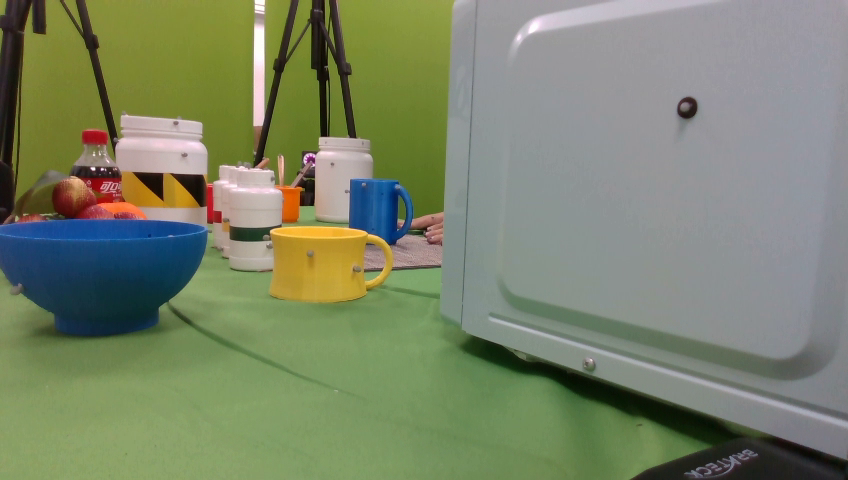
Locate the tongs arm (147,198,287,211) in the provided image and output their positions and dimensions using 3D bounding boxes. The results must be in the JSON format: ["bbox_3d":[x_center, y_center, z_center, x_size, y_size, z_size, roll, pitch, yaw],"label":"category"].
[{"bbox_3d":[-0.504,-0.091,1.513,0.028,0.028,0.389,-1,4,37],"label":"tongs arm"}]

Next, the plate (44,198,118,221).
[{"bbox_3d":[-0.617,-0.056,1.179,0.209,0.038,0.209,3,7,0],"label":"plate"}]

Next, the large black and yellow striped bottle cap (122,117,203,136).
[{"bbox_3d":[-0.399,-0.174,0.927,0.115,0.019,0.115,5,9,-1],"label":"large black and yellow striped bottle cap"}]

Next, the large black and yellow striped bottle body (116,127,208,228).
[{"bbox_3d":[-0.404,-0.089,0.937,0.131,0.184,0.130,3,7,0],"label":"large black and yellow striped bottle body"}]

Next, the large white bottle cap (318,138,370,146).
[{"bbox_3d":[-0.179,-0.218,1.351,0.115,0.018,0.115,2,8,0],"label":"large white bottle cap"}]

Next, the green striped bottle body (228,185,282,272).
[{"bbox_3d":[-0.208,-0.023,0.745,0.063,0.119,0.063,2,7,0],"label":"green striped bottle body"}]

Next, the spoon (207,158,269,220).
[{"bbox_3d":[-0.380,-0.108,1.251,0.041,0.022,0.194,4,51,39],"label":"spoon"}]

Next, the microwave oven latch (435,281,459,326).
[{"bbox_3d":[0.044,0.046,0.470,0.079,0.029,0.030,-3,8,-40],"label":"microwave oven latch"}]

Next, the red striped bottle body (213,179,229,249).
[{"bbox_3d":[-0.284,-0.048,0.909,0.063,0.119,0.063,3,10,0],"label":"red striped bottle body"}]

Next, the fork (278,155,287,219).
[{"bbox_3d":[-0.318,-0.120,1.342,0.028,0.018,0.206,0,52,-13],"label":"fork"}]

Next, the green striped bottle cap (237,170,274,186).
[{"bbox_3d":[-0.205,-0.075,0.737,0.044,0.020,0.044,1,6,0],"label":"green striped bottle cap"}]

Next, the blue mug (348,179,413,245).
[{"bbox_3d":[-0.071,-0.047,1.002,0.116,0.106,0.082,6,9,26],"label":"blue mug"}]

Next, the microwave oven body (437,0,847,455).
[{"bbox_3d":[0.279,-0.040,0.464,0.444,0.260,0.324,-3,8,-41],"label":"microwave oven body"}]

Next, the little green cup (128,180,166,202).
[{"bbox_3d":[-0.485,-0.087,1.062,0.061,0.038,0.061,-1,6,0],"label":"little green cup"}]

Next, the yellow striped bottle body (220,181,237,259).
[{"bbox_3d":[-0.244,-0.036,0.824,0.063,0.120,0.063,2,9,0],"label":"yellow striped bottle body"}]

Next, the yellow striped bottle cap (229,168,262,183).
[{"bbox_3d":[-0.240,-0.087,0.816,0.044,0.018,0.044,-2,5,1],"label":"yellow striped bottle cap"}]

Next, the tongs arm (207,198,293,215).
[{"bbox_3d":[-0.423,-0.084,1.472,0.050,0.026,0.386,2,6,21],"label":"tongs arm"}]

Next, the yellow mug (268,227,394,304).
[{"bbox_3d":[-0.094,0.023,0.629,0.131,0.064,0.099,0,7,-22],"label":"yellow mug"}]

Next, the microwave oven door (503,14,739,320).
[{"bbox_3d":[0.218,-0.065,0.600,0.358,0.243,0.039,-4,10,-41],"label":"microwave oven door"}]

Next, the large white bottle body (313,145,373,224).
[{"bbox_3d":[-0.182,-0.134,1.362,0.131,0.184,0.130,3,7,0],"label":"large white bottle body"}]

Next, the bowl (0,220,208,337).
[{"bbox_3d":[-0.251,0.029,0.479,0.151,0.077,0.151,2,7,0],"label":"bowl"}]

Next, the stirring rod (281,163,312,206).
[{"bbox_3d":[-0.292,-0.111,1.324,0.014,0.006,0.176,2,47,29],"label":"stirring rod"}]

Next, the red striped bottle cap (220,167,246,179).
[{"bbox_3d":[-0.281,-0.099,0.901,0.044,0.017,0.044,-1,5,0],"label":"red striped bottle cap"}]
